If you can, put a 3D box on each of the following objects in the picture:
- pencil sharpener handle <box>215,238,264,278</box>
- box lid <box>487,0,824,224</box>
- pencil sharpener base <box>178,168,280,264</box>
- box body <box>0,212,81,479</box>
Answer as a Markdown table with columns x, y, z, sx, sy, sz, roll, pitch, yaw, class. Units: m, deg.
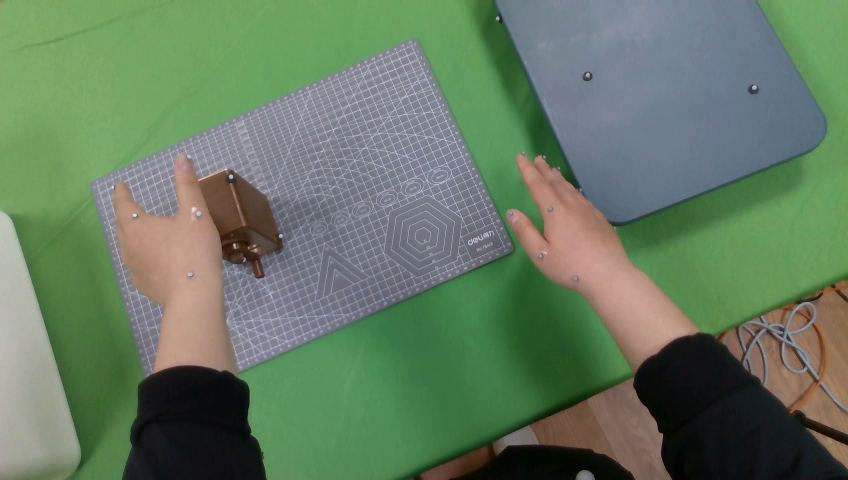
| x | y | z | sx | sy | sz | roll | pitch | yaw | class |
| --- | --- | --- | --- | --- | --- | --- | --- | --- | --- |
| -0.194 | 0.022 | 0.651 | 0.036 | 0.068 | 0.030 | -24 | 76 | 7 | pencil sharpener handle |
| 0.237 | -0.223 | 0.673 | 0.263 | 0.015 | 0.369 | -22 | 76 | 1 | box lid |
| -0.213 | -0.021 | 0.675 | 0.061 | 0.107 | 0.076 | -23 | 76 | 1 | pencil sharpener base |
| -0.568 | 0.144 | 0.657 | 0.254 | 0.161 | 0.362 | -27 | 76 | 0 | box body |
